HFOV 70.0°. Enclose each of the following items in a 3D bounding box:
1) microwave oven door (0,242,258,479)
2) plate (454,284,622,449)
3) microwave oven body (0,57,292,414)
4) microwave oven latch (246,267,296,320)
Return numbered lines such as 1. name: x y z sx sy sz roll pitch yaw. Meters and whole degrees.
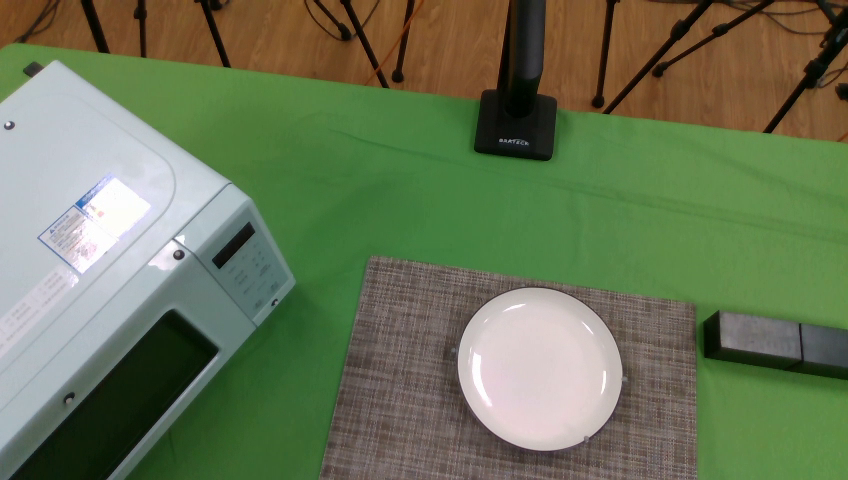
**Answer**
1. microwave oven door: -0.334 0.182 0.629 0.039 0.245 0.355 33 70 15
2. plate: 0.141 0.159 0.768 0.208 0.039 0.206 0 65 0
3. microwave oven body: -0.428 0.076 0.683 0.324 0.262 0.440 34 70 14
4. microwave oven latch: -0.202 0.065 0.795 0.030 0.030 0.079 35 71 14
